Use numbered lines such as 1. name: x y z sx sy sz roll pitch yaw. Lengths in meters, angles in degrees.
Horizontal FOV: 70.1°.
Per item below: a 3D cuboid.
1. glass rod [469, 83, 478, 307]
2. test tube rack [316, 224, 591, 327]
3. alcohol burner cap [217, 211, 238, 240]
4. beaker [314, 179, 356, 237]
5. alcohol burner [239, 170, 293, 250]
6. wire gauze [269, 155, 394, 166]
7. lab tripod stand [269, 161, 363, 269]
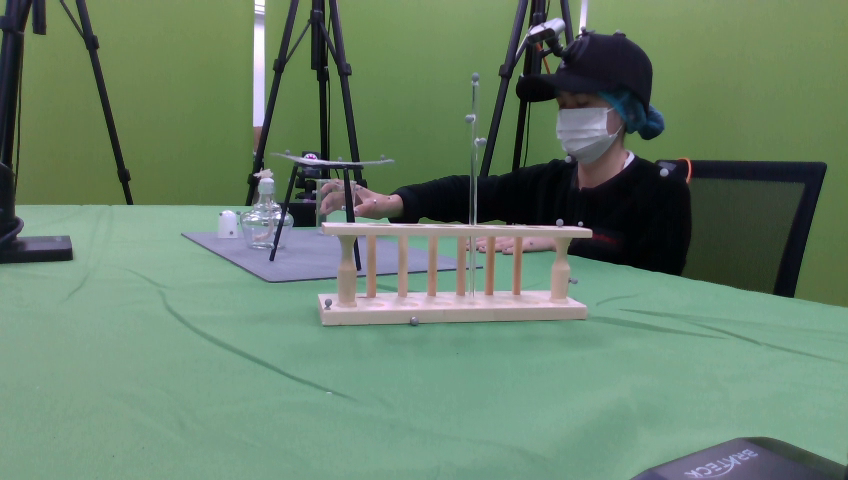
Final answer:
1. glass rod: 0.043 -0.033 0.523 0.008 0.199 0.008 -1 14 1
2. test tube rack: 0.026 0.028 0.555 0.243 0.085 0.066 1 7 -14
3. alcohol burner cap: -0.323 -0.024 0.994 0.034 0.048 0.034 3 8 0
4. beaker: -0.161 -0.058 1.094 0.074 0.100 0.083 0 9 -20
5. alcohol burner: -0.237 -0.045 0.904 0.078 0.119 0.078 1 8 0
6. wire gauze: -0.121 -0.102 0.785 0.122 0.011 0.124 -3 10 -39
7. lab tripod stand: -0.125 -0.036 0.794 0.148 0.131 0.148 5 7 0
